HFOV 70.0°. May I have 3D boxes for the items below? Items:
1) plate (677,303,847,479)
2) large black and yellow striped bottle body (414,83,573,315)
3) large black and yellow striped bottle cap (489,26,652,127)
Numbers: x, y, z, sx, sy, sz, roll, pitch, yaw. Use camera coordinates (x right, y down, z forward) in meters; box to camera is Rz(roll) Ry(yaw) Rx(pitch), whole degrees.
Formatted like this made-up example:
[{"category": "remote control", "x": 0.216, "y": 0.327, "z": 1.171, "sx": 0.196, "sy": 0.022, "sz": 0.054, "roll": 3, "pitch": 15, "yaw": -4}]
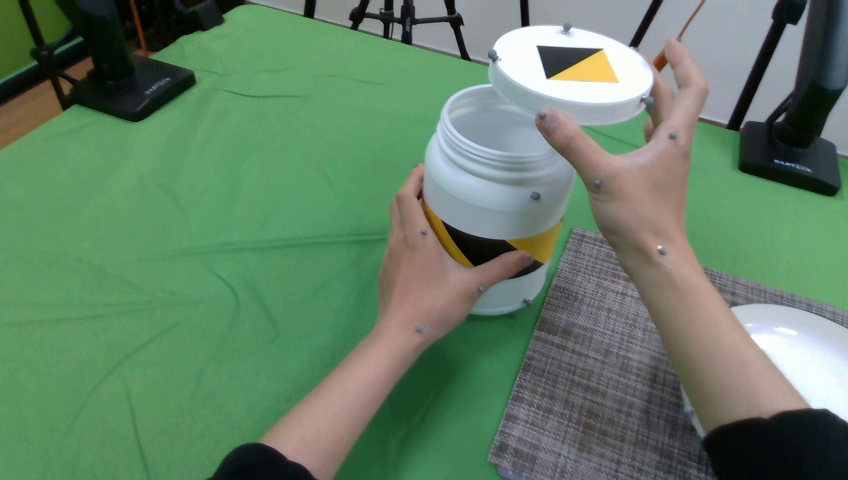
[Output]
[{"category": "plate", "x": 0.309, "y": 0.142, "z": 0.496, "sx": 0.208, "sy": 0.039, "sz": 0.205, "roll": 3, "pitch": 44, "yaw": -3}, {"category": "large black and yellow striped bottle body", "x": 0.060, "y": -0.035, "z": 0.552, "sx": 0.131, "sy": 0.185, "sz": 0.129, "roll": 3, "pitch": 44, "yaw": -2}, {"category": "large black and yellow striped bottle cap", "x": 0.104, "y": -0.120, "z": 0.432, "sx": 0.115, "sy": 0.019, "sz": 0.114, "roll": 4, "pitch": 45, "yaw": -4}]
